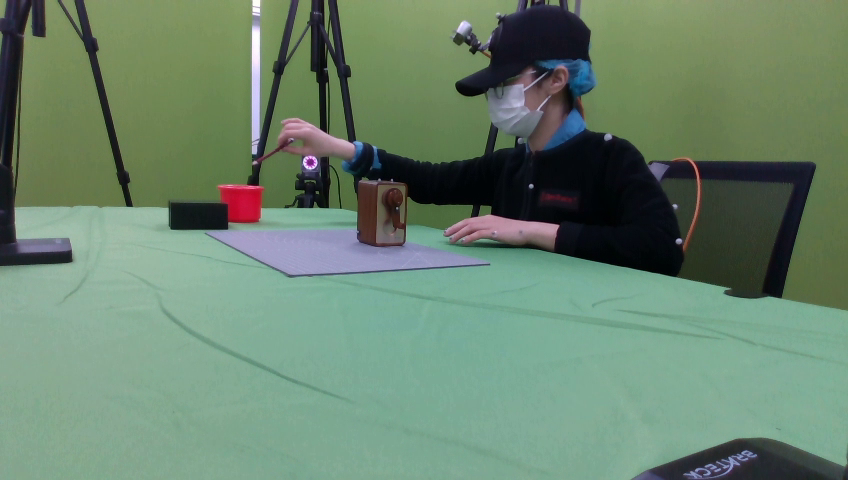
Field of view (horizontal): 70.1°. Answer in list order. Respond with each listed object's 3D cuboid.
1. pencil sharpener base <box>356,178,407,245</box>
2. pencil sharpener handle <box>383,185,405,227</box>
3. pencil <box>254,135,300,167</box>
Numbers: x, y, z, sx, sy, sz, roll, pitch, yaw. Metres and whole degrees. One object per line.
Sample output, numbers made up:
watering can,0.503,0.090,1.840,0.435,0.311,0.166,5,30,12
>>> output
pencil sharpener base,-0.071,-0.049,1.018,0.062,0.107,0.076,-2,9,-32
pencil sharpener handle,-0.043,-0.055,0.975,0.036,0.067,0.030,-9,13,-31
pencil,-0.320,-0.194,1.322,0.012,0.012,0.194,4,29,17
